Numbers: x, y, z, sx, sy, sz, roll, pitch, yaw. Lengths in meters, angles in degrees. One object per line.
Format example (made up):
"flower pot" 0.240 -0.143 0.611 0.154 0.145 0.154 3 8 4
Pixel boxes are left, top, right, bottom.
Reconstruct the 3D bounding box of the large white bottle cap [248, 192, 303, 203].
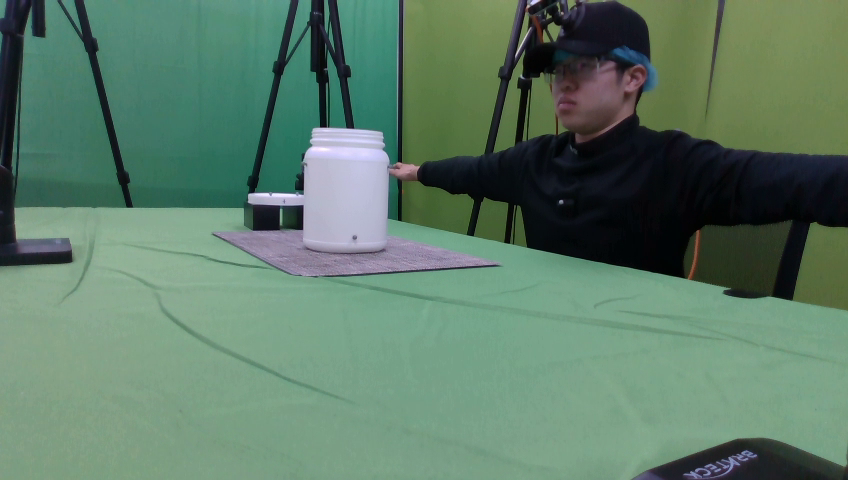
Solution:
"large white bottle cap" -0.294 -0.084 1.213 0.115 0.018 0.115 2 7 0

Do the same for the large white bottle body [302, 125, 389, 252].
"large white bottle body" -0.120 -0.080 0.936 0.131 0.184 0.130 2 7 0
